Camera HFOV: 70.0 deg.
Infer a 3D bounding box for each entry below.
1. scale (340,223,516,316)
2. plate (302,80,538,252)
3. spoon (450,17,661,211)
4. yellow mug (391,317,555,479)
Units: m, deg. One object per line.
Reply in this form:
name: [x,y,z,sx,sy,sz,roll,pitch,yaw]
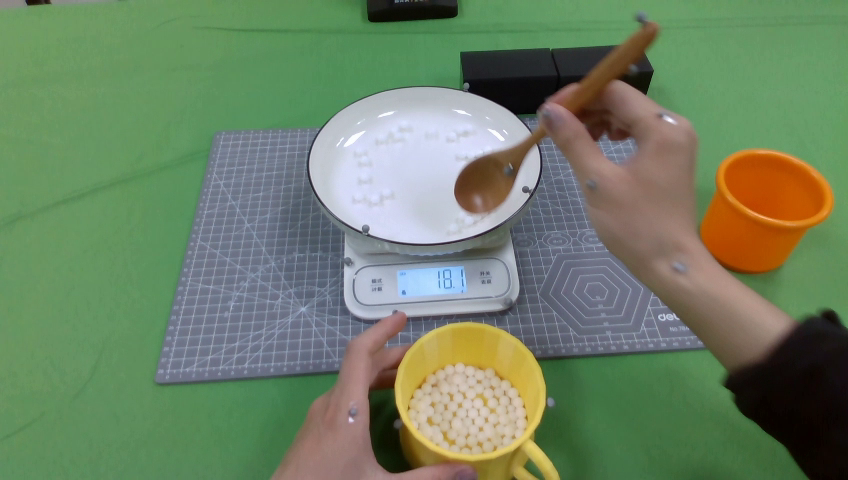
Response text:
scale: [-0.001,-0.025,0.553,0.149,0.032,0.199,-4,51,-2]
plate: [-0.003,-0.068,0.546,0.209,0.038,0.207,0,51,0]
spoon: [0.078,-0.074,0.401,0.041,0.194,0.021,52,50,1]
yellow mug: [0.039,0.121,0.417,0.100,0.064,0.129,-37,60,-26]
